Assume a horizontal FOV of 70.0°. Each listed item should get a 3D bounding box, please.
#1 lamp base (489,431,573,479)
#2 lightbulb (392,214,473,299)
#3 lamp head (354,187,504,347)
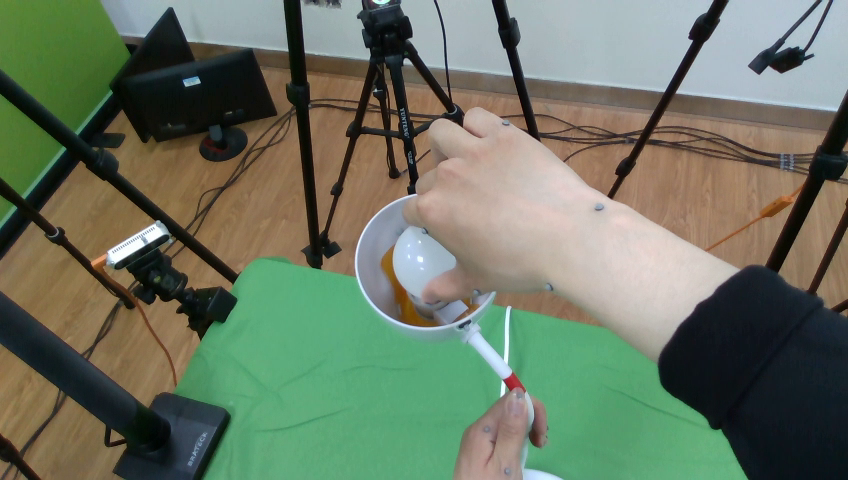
[{"bbox_3d":[0.116,0.287,0.643,0.161,0.182,0.177,-23,52,-10],"label":"lamp base"},{"bbox_3d":[0.005,0.020,0.465,0.059,0.108,0.059,1,66,-2],"label":"lightbulb"},{"bbox_3d":[0.009,0.035,0.494,0.112,0.124,0.111,-3,62,6],"label":"lamp head"}]
